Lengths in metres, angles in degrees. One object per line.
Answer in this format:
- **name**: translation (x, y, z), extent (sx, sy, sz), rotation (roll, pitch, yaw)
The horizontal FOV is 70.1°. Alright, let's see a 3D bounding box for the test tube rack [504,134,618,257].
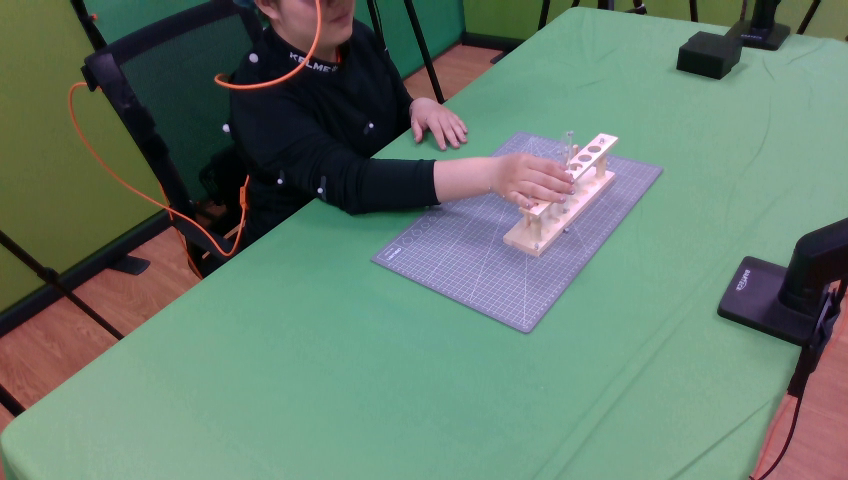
- **test tube rack**: translation (0.225, -0.083, 0.984), extent (0.066, 0.085, 0.243), rotation (25, 51, 34)

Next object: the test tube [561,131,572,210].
- **test tube**: translation (0.219, -0.103, 0.933), extent (0.017, 0.151, 0.017), rotation (-6, 45, 7)
